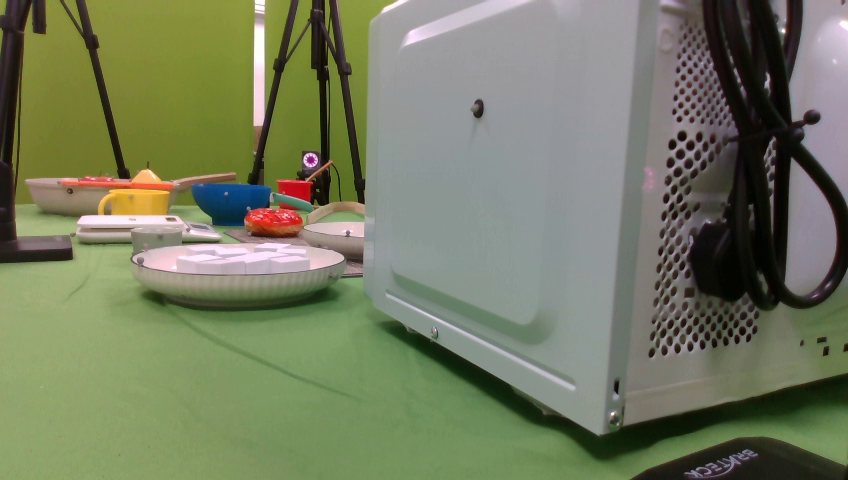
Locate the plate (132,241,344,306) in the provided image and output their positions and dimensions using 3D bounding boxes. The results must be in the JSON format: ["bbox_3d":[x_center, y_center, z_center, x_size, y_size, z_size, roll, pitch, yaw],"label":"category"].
[{"bbox_3d":[-0.187,0.033,0.625,0.208,0.039,0.207,2,7,0],"label":"plate"}]

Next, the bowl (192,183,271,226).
[{"bbox_3d":[-0.382,-0.071,1.202,0.151,0.077,0.151,3,7,0],"label":"bowl"}]

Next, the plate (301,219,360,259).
[{"bbox_3d":[-0.077,-0.002,0.893,0.209,0.038,0.209,3,8,0],"label":"plate"}]

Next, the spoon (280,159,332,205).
[{"bbox_3d":[-0.316,-0.159,1.640,0.194,0.022,0.041,-50,32,-20],"label":"spoon"}]

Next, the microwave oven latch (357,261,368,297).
[{"bbox_3d":[-0.019,0.033,0.531,0.079,0.029,0.030,-1,7,-27],"label":"microwave oven latch"}]

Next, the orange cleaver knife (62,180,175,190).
[{"bbox_3d":[-0.600,-0.110,1.193,0.212,0.012,0.077,1,8,-13],"label":"orange cleaver knife"}]

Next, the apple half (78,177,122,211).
[{"bbox_3d":[-0.698,-0.099,1.298,0.081,0.074,0.053,-9,9,-40],"label":"apple half"}]

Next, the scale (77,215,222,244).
[{"bbox_3d":[-0.434,-0.019,0.963,0.202,0.031,0.148,-1,9,-27],"label":"scale"}]

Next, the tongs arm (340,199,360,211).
[{"bbox_3d":[-0.149,-0.070,1.429,0.051,0.026,0.383,-4,9,-15],"label":"tongs arm"}]

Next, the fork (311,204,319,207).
[{"bbox_3d":[-0.356,-0.105,1.526,0.208,0.018,0.028,16,-6,-41],"label":"fork"}]

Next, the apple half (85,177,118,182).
[{"bbox_3d":[-0.673,-0.096,1.269,0.082,0.081,0.032,-4,6,-40],"label":"apple half"}]

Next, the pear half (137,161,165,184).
[{"bbox_3d":[-0.604,-0.120,1.354,0.056,0.110,0.076,3,11,7],"label":"pear half"}]

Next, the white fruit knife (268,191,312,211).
[{"bbox_3d":[-0.364,-0.105,1.464,0.208,0.027,0.016,15,0,-34],"label":"white fruit knife"}]

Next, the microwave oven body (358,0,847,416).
[{"bbox_3d":[0.211,-0.047,0.475,0.444,0.260,0.324,-1,7,-28],"label":"microwave oven body"}]

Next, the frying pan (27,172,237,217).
[{"bbox_3d":[-0.624,-0.118,1.387,0.305,0.102,0.490,8,17,32],"label":"frying pan"}]

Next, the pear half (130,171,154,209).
[{"bbox_3d":[-0.640,-0.113,1.361,0.031,0.088,0.070,5,10,5],"label":"pear half"}]

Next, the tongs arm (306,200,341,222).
[{"bbox_3d":[-0.234,-0.068,1.414,0.028,0.028,0.387,-6,8,1],"label":"tongs arm"}]

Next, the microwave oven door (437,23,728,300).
[{"bbox_3d":[0.180,-0.072,0.621,0.358,0.243,0.039,-2,8,-29],"label":"microwave oven door"}]

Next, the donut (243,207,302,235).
[{"bbox_3d":[-0.261,-0.032,1.043,0.099,0.048,0.099,4,9,0],"label":"donut"}]

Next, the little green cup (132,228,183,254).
[{"bbox_3d":[-0.342,0.006,0.779,0.061,0.038,0.061,2,8,0],"label":"little green cup"}]

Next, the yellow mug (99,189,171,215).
[{"bbox_3d":[-0.518,-0.055,1.080,0.099,0.064,0.131,7,10,26],"label":"yellow mug"}]
